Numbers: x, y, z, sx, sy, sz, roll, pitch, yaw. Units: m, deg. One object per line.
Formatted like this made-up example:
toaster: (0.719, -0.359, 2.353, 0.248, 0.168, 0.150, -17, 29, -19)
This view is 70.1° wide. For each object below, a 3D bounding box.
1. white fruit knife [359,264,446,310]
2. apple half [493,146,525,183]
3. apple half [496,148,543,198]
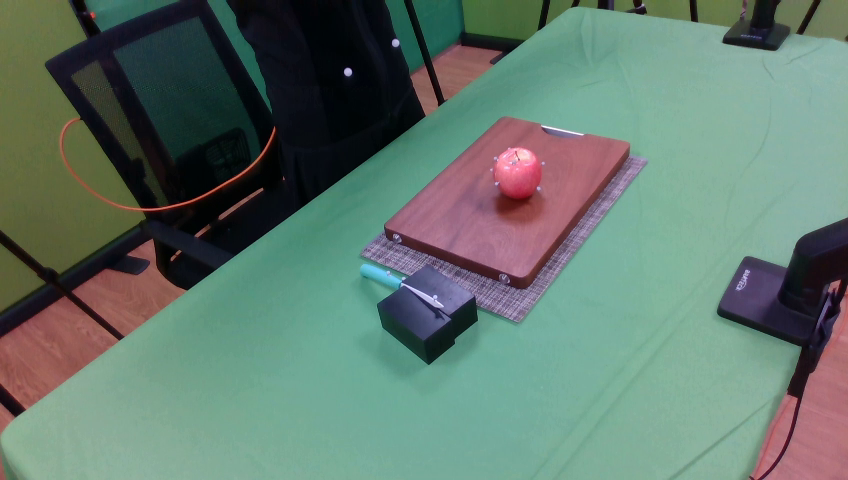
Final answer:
white fruit knife: (-0.034, 0.066, 0.870, 0.016, 0.027, 0.205, -37, 33, -27)
apple half: (0.139, -0.122, 1.015, 0.081, 0.081, 0.032, -34, 50, -25)
apple half: (0.164, -0.104, 0.991, 0.081, 0.075, 0.053, -31, 48, -29)
